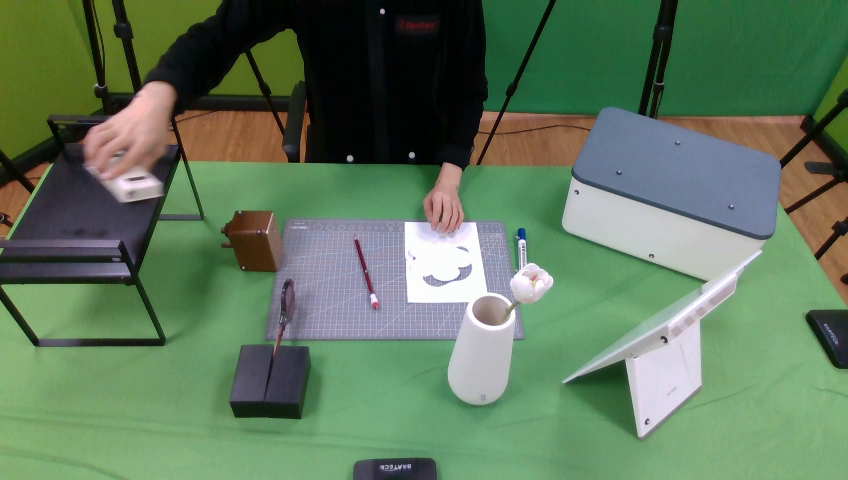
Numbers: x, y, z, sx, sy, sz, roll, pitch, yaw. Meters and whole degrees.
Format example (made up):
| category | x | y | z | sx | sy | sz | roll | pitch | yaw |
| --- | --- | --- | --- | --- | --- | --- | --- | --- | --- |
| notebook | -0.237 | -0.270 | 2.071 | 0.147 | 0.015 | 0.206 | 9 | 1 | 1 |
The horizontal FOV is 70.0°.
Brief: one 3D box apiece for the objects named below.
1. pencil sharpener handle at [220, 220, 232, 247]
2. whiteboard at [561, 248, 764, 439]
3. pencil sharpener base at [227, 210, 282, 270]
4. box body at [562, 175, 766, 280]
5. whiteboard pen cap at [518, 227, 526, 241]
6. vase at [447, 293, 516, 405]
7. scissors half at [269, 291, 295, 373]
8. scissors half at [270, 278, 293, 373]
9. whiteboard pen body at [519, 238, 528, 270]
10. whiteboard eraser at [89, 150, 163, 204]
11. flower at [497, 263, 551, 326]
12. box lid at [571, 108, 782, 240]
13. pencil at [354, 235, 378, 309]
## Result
| category | x | y | z | sx | sy | sz | roll | pitch | yaw |
| --- | --- | --- | --- | --- | --- | --- | --- | --- | --- |
| pencil sharpener handle | -0.362 | -0.009 | 1.104 | 0.030 | 0.068 | 0.036 | 1 | 52 | 1 |
| whiteboard | 0.386 | 0.176 | 0.905 | 0.217 | 0.306 | 0.143 | -26 | 72 | -27 |
| pencil sharpener base | -0.311 | 0.001 | 1.112 | 0.077 | 0.107 | 0.061 | 1 | 47 | 1 |
| box body | 0.486 | -0.088 | 1.222 | 0.363 | 0.161 | 0.253 | 20 | 48 | 15 |
| whiteboard pen cap | 0.197 | -0.009 | 1.220 | 0.018 | 0.018 | 0.033 | 5 | 50 | 1 |
| vase | 0.091 | 0.169 | 0.921 | 0.098 | 0.201 | 0.097 | 3 | 47 | -3 |
| scissors half | -0.237 | 0.151 | 1.009 | 0.013 | 0.040 | 0.174 | 4 | 38 | 0 |
| scissors half | -0.236 | 0.137 | 0.994 | 0.013 | 0.040 | 0.174 | 0 | 55 | 3 |
| whiteboard pen body | 0.193 | 0.035 | 1.180 | 0.017 | 0.017 | 0.140 | 6 | 48 | 1 |
| whiteboard eraser | -0.432 | -0.090 | 0.877 | 0.112 | 0.042 | 0.056 | 35 | 29 | 27 |
| flower | 0.102 | 0.121 | 0.852 | 0.044 | 0.363 | 0.038 | -1 | 64 | -10 |
| box lid | 0.491 | -0.139 | 1.168 | 0.370 | 0.015 | 0.262 | 21 | 49 | 15 |
| pencil | -0.113 | 0.055 | 1.143 | 0.012 | 0.012 | 0.192 | -10 | 46 | -13 |
